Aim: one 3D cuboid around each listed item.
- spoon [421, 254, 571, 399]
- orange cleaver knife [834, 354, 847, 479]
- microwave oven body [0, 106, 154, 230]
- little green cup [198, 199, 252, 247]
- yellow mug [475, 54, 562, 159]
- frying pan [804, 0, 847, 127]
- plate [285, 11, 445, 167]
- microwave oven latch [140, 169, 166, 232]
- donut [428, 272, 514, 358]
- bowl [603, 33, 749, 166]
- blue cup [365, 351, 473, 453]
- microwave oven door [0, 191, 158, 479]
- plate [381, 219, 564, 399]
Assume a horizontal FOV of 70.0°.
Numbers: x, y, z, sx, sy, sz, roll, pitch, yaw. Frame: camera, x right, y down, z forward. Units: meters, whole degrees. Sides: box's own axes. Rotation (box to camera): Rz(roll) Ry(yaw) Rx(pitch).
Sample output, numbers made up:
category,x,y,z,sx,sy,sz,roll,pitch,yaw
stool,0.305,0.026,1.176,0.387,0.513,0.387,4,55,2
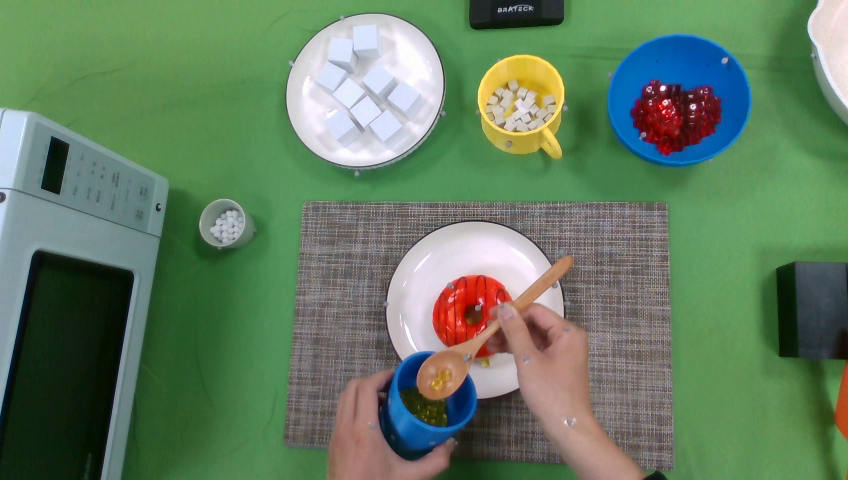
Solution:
category,x,y,z,sx,sy,sz,roll,pitch,yaw
spoon,0.065,0.081,0.567,0.194,0.022,0.041,-44,77,15
orange cleaver knife,0.435,0.181,0.611,0.012,0.077,0.212,0,109,10
microwave oven body,-0.533,0.096,0.684,0.325,0.261,0.440,4,81,9
little green cup,-0.252,-0.019,0.777,0.061,0.039,0.061,-1,81,8
yellow mug,0.122,-0.150,0.727,0.100,0.064,0.130,-36,77,2
frying pan,0.554,-0.118,0.632,0.306,0.103,0.485,6,73,11
plate,-0.074,-0.190,0.779,0.207,0.039,0.207,-2,80,9
microwave oven latch,-0.356,-0.051,0.780,0.030,0.029,0.079,7,82,10
donut,0.054,0.086,0.695,0.099,0.048,0.099,-1,83,10
bowl,0.279,-0.149,0.695,0.151,0.077,0.151,-2,80,9
blue cup,-0.013,0.172,0.612,0.093,0.100,0.092,18,50,-23
microwave oven door,-0.395,0.146,0.648,0.039,0.245,0.354,4,80,10
plate,0.055,0.079,0.707,0.209,0.038,0.208,-1,81,9
